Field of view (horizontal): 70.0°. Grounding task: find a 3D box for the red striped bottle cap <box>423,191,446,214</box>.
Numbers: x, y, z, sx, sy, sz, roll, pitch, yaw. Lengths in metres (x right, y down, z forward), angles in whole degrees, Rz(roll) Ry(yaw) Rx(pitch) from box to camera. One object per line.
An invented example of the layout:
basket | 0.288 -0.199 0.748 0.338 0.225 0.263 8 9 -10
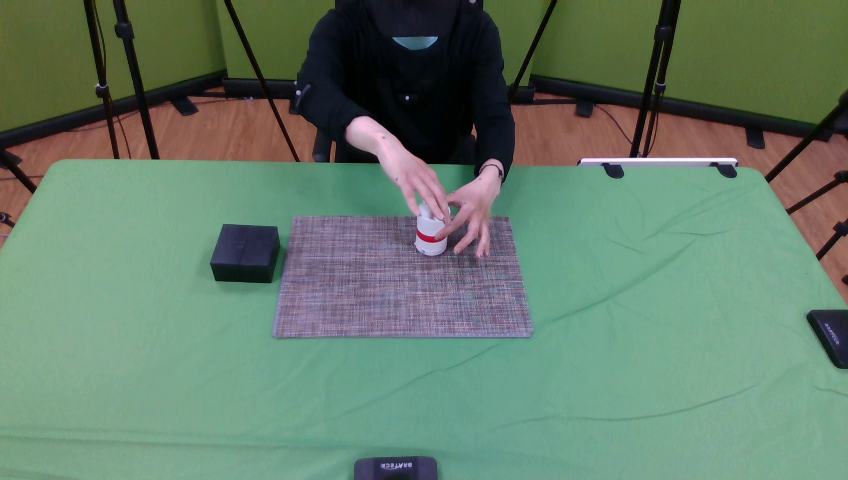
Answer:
red striped bottle cap | 0.019 -0.069 1.115 0.044 0.018 0.044 1 50 -1

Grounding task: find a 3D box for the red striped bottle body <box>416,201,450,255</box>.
red striped bottle body | 0.017 -0.032 1.153 0.063 0.120 0.062 1 46 -1
